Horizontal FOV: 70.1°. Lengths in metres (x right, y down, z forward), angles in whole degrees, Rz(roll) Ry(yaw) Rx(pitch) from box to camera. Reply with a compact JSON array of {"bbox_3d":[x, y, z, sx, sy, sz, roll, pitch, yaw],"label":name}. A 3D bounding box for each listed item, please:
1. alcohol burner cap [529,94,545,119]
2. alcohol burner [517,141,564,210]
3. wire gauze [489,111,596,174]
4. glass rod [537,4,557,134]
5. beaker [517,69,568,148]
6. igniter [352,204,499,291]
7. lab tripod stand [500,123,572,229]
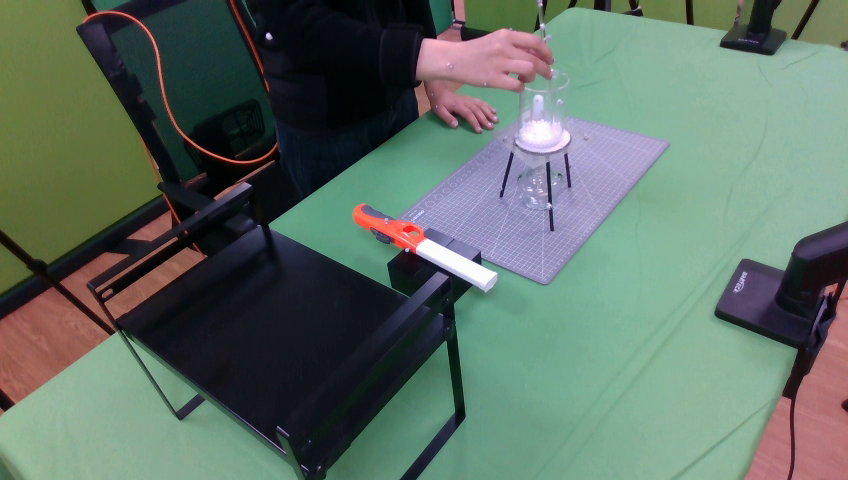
[{"bbox_3d":[0.233,-0.277,1.247,0.034,0.048,0.033,-5,41,5],"label":"alcohol burner cap"},{"bbox_3d":[0.193,-0.110,1.001,0.078,0.119,0.077,-5,38,5],"label":"alcohol burner"},{"bbox_3d":[0.183,-0.159,0.943,0.122,0.011,0.124,-25,47,-17],"label":"wire gauze"},{"bbox_3d":[0.176,-0.236,0.858,0.008,0.201,0.008,-11,39,9],"label":"glass rod"},{"bbox_3d":[0.179,-0.198,0.914,0.073,0.100,0.084,25,49,31],"label":"beaker"},{"bbox_3d":[-0.009,0.005,0.895,0.274,0.025,0.057,27,48,32],"label":"igniter"},{"bbox_3d":[0.194,-0.110,0.985,0.148,0.132,0.147,-3,41,3],"label":"lab tripod stand"}]
